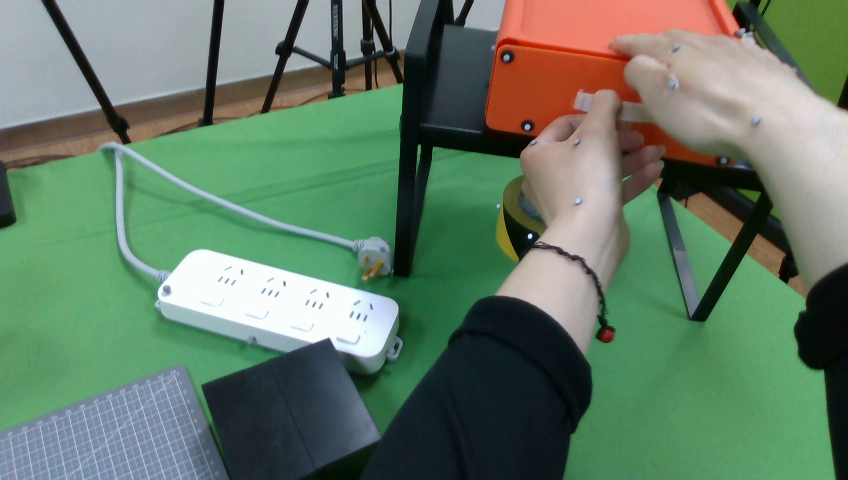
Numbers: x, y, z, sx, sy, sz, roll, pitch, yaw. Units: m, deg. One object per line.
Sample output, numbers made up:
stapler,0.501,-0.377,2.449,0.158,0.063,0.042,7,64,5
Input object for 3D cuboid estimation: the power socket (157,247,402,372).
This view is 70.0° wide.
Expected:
power socket,-0.129,0.060,0.547,0.226,0.033,0.071,14,43,9

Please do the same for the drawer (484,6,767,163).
drawer,0.161,-0.165,0.524,0.194,0.074,0.210,10,42,4

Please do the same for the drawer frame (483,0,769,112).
drawer frame,0.163,-0.176,0.534,0.201,0.083,0.212,9,43,3

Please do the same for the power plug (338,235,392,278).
power plug,-0.063,0.020,0.611,0.072,0.035,0.052,-14,27,36

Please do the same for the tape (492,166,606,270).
tape,0.135,-0.025,0.655,0.117,0.053,0.115,3,44,-3
